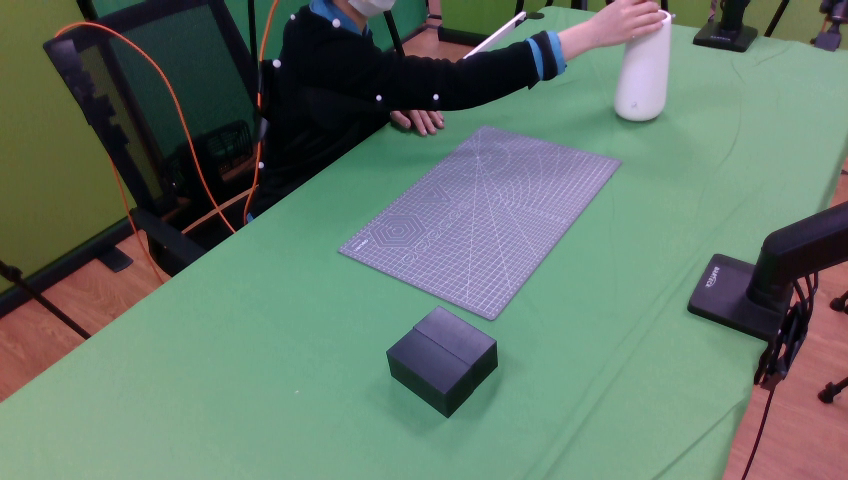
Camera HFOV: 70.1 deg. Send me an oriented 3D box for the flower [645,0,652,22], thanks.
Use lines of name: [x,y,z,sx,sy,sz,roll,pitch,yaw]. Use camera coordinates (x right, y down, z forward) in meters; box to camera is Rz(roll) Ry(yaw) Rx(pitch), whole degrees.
flower: [0.397,-0.429,1.062,0.038,0.363,0.044,24,51,33]

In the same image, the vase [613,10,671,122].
vase: [0.419,-0.327,1.151,0.098,0.201,0.097,-4,42,4]
